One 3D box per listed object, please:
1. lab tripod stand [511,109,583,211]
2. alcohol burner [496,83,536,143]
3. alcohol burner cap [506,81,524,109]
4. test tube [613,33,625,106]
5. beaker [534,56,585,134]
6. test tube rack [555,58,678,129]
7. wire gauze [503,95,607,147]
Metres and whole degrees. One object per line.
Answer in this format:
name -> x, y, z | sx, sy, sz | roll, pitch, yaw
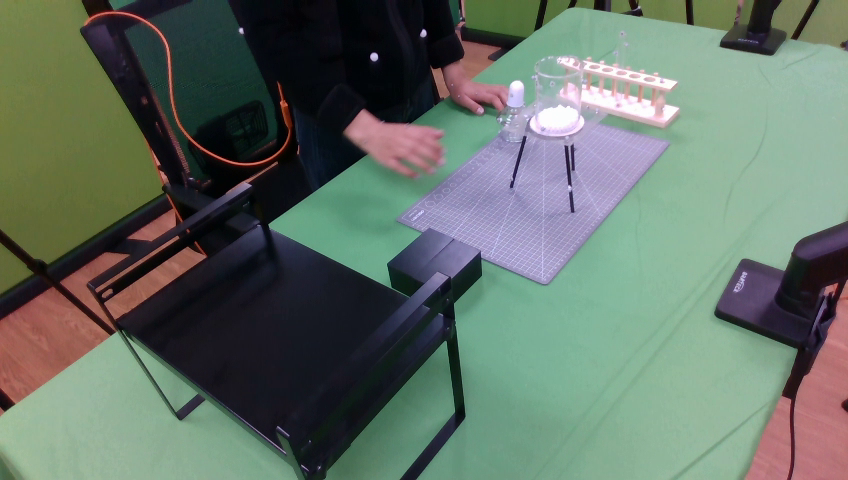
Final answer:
lab tripod stand -> 0.220, -0.138, 1.014 | 0.148, 0.132, 0.147 | -3, 41, 3
alcohol burner -> 0.178, -0.250, 1.168 | 0.078, 0.119, 0.077 | -5, 42, 5
alcohol burner cap -> 0.173, -0.277, 1.144 | 0.034, 0.048, 0.033 | 0, 39, 0
test tube -> 0.380, -0.330, 1.180 | 0.017, 0.151, 0.017 | -7, 41, 6
beaker -> 0.209, -0.226, 0.942 | 0.074, 0.101, 0.083 | -2, 41, 7
test tube rack -> 0.390, -0.307, 1.229 | 0.240, 0.085, 0.067 | 25, 51, 33
wire gauze -> 0.212, -0.191, 0.976 | 0.120, 0.011, 0.125 | 24, 52, 32
